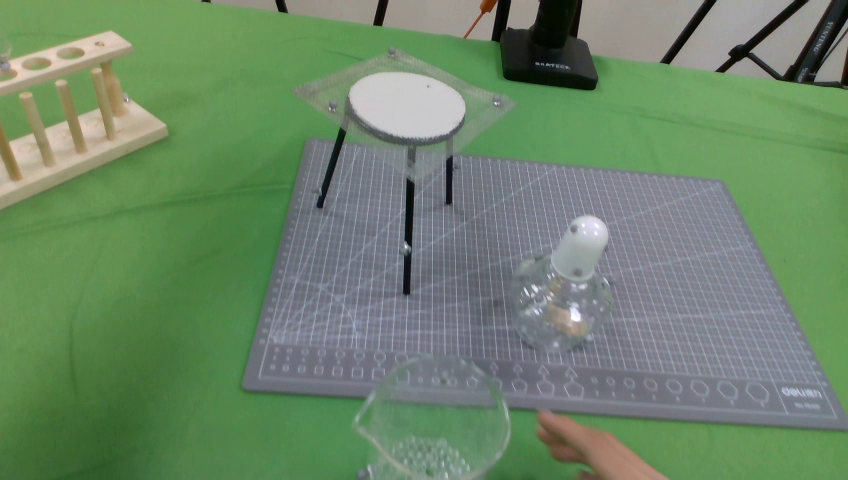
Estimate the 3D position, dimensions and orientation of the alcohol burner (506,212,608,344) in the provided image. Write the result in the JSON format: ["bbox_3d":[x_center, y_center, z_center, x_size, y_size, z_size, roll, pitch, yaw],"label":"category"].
[{"bbox_3d":[0.103,0.023,0.447,0.078,0.120,0.077,7,44,-6],"label":"alcohol burner"}]

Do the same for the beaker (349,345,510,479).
[{"bbox_3d":[-0.001,0.120,0.347,0.084,0.101,0.073,-2,46,-11],"label":"beaker"}]

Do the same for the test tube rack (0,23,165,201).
[{"bbox_3d":[-0.350,-0.096,0.505,0.066,0.086,0.242,34,49,22],"label":"test tube rack"}]

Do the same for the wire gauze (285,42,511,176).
[{"bbox_3d":[-0.017,-0.106,0.443,0.124,0.011,0.121,35,51,21],"label":"wire gauze"}]

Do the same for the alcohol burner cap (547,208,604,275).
[{"bbox_3d":[0.108,-0.001,0.421,0.034,0.048,0.033,5,50,-5],"label":"alcohol burner cap"}]

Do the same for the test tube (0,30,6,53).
[{"bbox_3d":[-0.257,-0.164,0.319,0.017,0.151,0.017,5,51,-6],"label":"test tube"}]

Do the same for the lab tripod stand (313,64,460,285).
[{"bbox_3d":[-0.023,-0.059,0.491,0.149,0.132,0.147,6,46,-6],"label":"lab tripod stand"}]
